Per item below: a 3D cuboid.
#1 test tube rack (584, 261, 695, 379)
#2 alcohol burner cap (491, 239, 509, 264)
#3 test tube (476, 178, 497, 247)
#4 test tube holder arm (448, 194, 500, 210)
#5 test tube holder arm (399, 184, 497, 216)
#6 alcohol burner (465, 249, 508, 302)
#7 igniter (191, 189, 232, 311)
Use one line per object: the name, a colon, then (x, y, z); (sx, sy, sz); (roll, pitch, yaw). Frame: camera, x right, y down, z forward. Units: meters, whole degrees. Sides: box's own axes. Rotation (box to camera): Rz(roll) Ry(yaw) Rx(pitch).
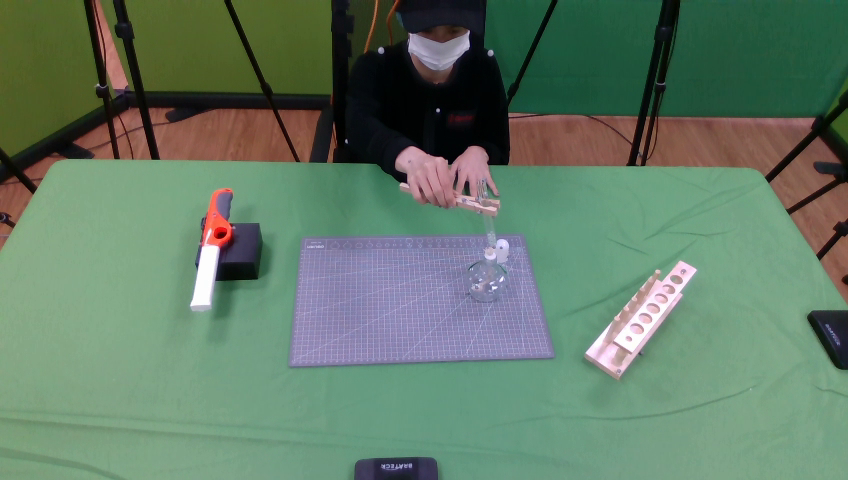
test tube rack: (0.380, 0.127, 1.062); (0.066, 0.085, 0.242); (34, 53, 26)
alcohol burner cap: (0.150, 0.020, 1.174); (0.034, 0.048, 0.033); (2, 46, -2)
test tube: (0.102, -0.041, 0.983); (0.017, 0.151, 0.017); (-8, 47, 9)
test tube holder arm: (0.079, -0.062, 0.979); (0.087, 0.015, 0.010); (9, 49, 19)
test tube holder arm: (0.036, -0.067, 0.992); (0.178, 0.015, 0.013); (15, 50, 23)
alcohol burner: (0.114, 0.057, 1.085); (0.078, 0.120, 0.077); (2, 48, -2)
igniter: (-0.381, 0.008, 1.092); (0.057, 0.025, 0.274); (-1, 50, -7)
